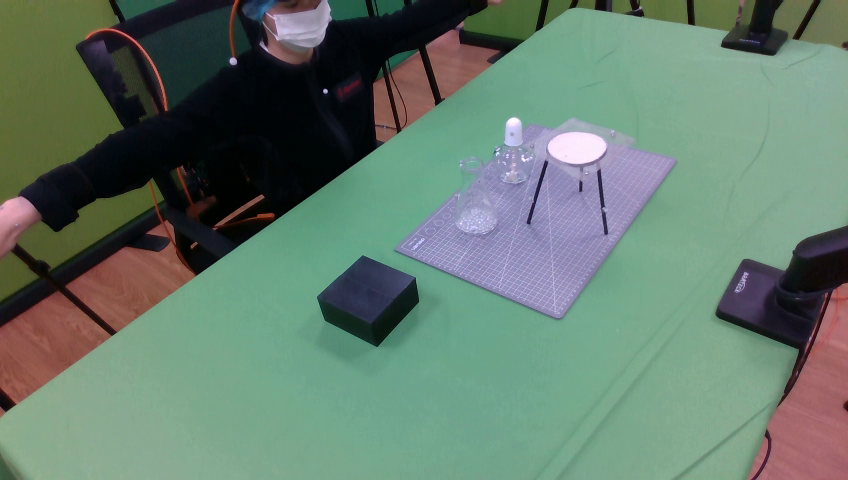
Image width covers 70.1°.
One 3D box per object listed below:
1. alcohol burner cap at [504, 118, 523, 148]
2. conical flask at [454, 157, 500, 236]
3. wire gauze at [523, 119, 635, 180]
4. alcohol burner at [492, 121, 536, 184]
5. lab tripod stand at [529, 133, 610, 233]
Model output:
[{"bbox_3d":[0.154,-0.186,1.042,0.034,0.048,0.033,-4,33,3],"label":"alcohol burner cap"},{"bbox_3d":[0.081,-0.072,0.966,0.075,0.122,0.075,-5,40,4],"label":"conical flask"},{"bbox_3d":[0.233,-0.143,0.913,0.122,0.011,0.124,-32,45,-25],"label":"wire gauze"},{"bbox_3d":[0.159,-0.158,1.064,0.078,0.119,0.077,-3,41,3],"label":"alcohol burner"},{"bbox_3d":[0.236,-0.089,0.953,0.148,0.132,0.147,-5,42,5],"label":"lab tripod stand"}]
